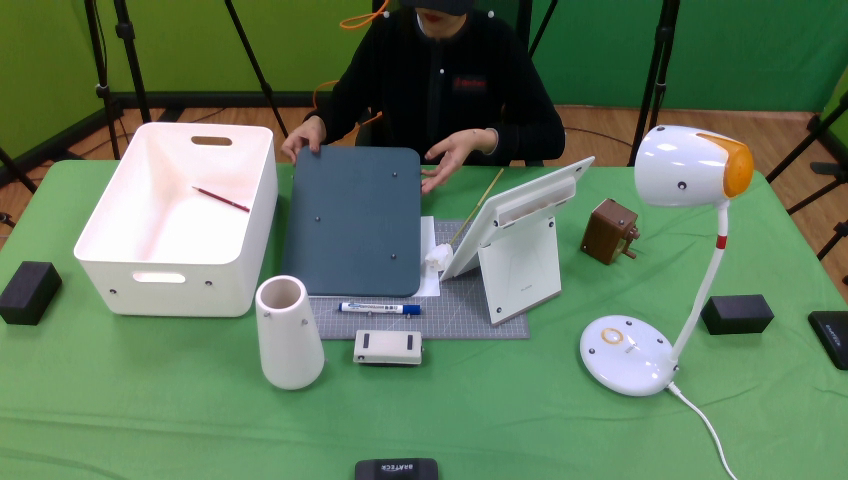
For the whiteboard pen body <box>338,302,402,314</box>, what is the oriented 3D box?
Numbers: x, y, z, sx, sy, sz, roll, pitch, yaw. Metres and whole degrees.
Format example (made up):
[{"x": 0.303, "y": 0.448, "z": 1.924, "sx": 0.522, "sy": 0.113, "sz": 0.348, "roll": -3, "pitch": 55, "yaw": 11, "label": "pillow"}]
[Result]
[{"x": -0.083, "y": 0.121, "z": 1.074, "sx": 0.141, "sy": 0.017, "sz": 0.017, "roll": 3, "pitch": 46, "yaw": -2, "label": "whiteboard pen body"}]

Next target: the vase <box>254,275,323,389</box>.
[{"x": -0.209, "y": 0.142, "z": 0.921, "sx": 0.098, "sy": 0.201, "sz": 0.097, "roll": 1, "pitch": 46, "yaw": -1, "label": "vase"}]

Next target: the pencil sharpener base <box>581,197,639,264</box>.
[{"x": 0.362, "y": -0.016, "z": 1.178, "sx": 0.076, "sy": 0.107, "sz": 0.061, "roll": 35, "pitch": 53, "yaw": 26, "label": "pencil sharpener base"}]

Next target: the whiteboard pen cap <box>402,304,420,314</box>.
[{"x": -0.024, "y": 0.123, "z": 1.076, "sx": 0.033, "sy": 0.018, "sz": 0.018, "roll": 1, "pitch": 46, "yaw": 1, "label": "whiteboard pen cap"}]

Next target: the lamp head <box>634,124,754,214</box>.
[{"x": 0.351, "y": -0.089, "z": 0.776, "sx": 0.112, "sy": 0.113, "sz": 0.122, "roll": -30, "pitch": 30, "yaw": -28, "label": "lamp head"}]

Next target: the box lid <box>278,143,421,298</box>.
[{"x": -0.137, "y": -0.051, "z": 1.198, "sx": 0.263, "sy": 0.015, "sz": 0.369, "roll": 2, "pitch": 56, "yaw": -3, "label": "box lid"}]

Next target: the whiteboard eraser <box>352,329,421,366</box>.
[{"x": -0.061, "y": 0.179, "z": 1.005, "sx": 0.113, "sy": 0.042, "sz": 0.055, "roll": 3, "pitch": 48, "yaw": -3, "label": "whiteboard eraser"}]

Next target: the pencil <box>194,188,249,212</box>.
[{"x": -0.397, "y": -0.076, "z": 1.243, "sx": 0.193, "sy": 0.012, "sz": 0.012, "roll": 21, "pitch": 49, "yaw": 17, "label": "pencil"}]

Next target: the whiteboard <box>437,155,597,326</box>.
[{"x": 0.180, "y": 0.023, "z": 1.029, "sx": 0.217, "sy": 0.306, "sz": 0.143, "roll": -21, "pitch": 71, "yaw": -23, "label": "whiteboard"}]

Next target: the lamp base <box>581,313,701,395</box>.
[{"x": 0.361, "y": 0.144, "z": 0.972, "sx": 0.178, "sy": 0.181, "sz": 0.160, "roll": 34, "pitch": 53, "yaw": 23, "label": "lamp base"}]

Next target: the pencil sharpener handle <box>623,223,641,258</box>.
[{"x": 0.399, "y": 0.002, "z": 1.146, "sx": 0.030, "sy": 0.068, "sz": 0.036, "roll": 35, "pitch": 45, "yaw": 26, "label": "pencil sharpener handle"}]

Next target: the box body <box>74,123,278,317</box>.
[{"x": -0.421, "y": -0.041, "z": 1.108, "sx": 0.254, "sy": 0.161, "sz": 0.361, "roll": 2, "pitch": 46, "yaw": -3, "label": "box body"}]

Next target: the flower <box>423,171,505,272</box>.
[{"x": 0.098, "y": -0.054, "z": 1.259, "sx": 0.044, "sy": 0.038, "sz": 0.361, "roll": 19, "pitch": 43, "yaw": 21, "label": "flower"}]
